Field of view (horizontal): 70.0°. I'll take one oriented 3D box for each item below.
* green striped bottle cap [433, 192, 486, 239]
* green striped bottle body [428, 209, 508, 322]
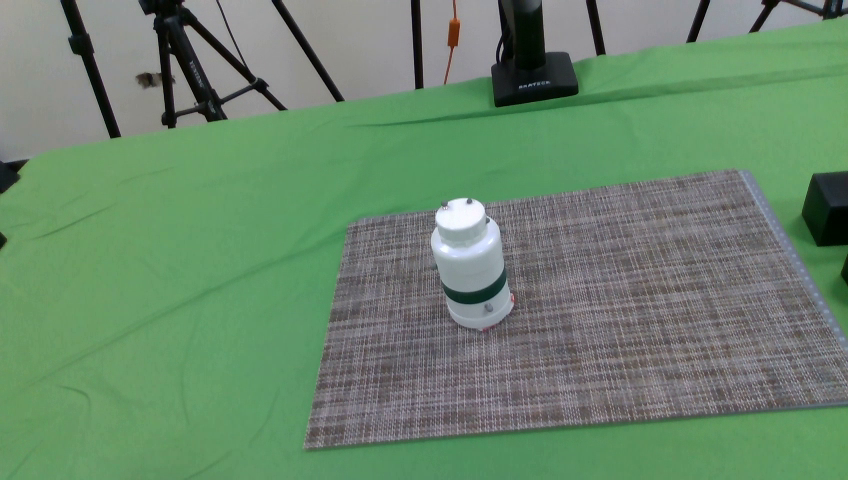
[{"bbox_3d":[0.030,-0.022,0.522,0.044,0.020,0.044,-9,42,9],"label":"green striped bottle cap"},{"bbox_3d":[0.041,0.015,0.557,0.063,0.120,0.062,-8,42,8],"label":"green striped bottle body"}]
